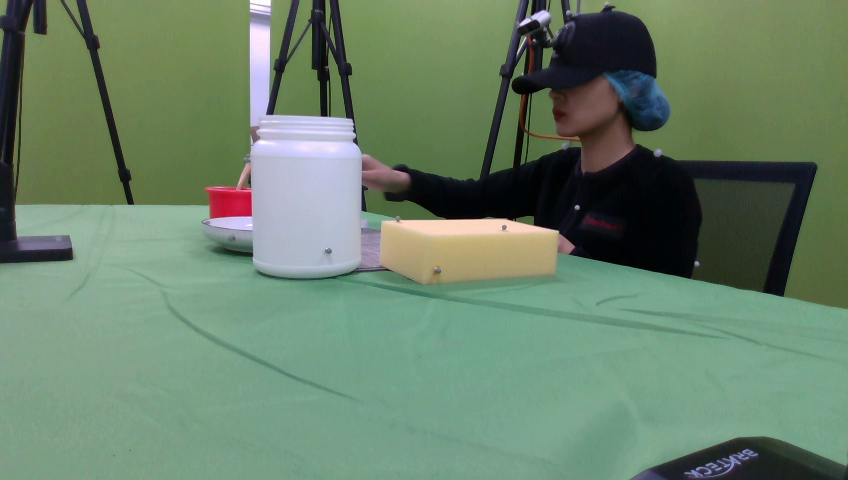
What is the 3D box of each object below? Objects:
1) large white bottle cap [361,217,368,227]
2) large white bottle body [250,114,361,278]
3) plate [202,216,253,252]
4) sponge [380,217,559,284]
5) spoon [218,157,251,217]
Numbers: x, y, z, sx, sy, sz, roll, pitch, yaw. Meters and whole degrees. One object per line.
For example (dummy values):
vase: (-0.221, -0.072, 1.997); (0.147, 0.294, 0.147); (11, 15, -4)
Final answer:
large white bottle cap: (-0.171, -0.038, 1.233); (0.115, 0.018, 0.115); (2, 5, 0)
large white bottle body: (-0.140, -0.057, 0.727); (0.131, 0.184, 0.130); (1, 10, 0)
plate: (-0.223, -0.010, 0.909); (0.209, 0.038, 0.209); (2, 7, 0)
sponge: (0.059, 0.008, 0.786); (0.208, 0.061, 0.117); (-3, 11, -32)
spoon: (-0.332, -0.091, 1.091); (0.041, 0.021, 0.193); (3, 51, 5)
